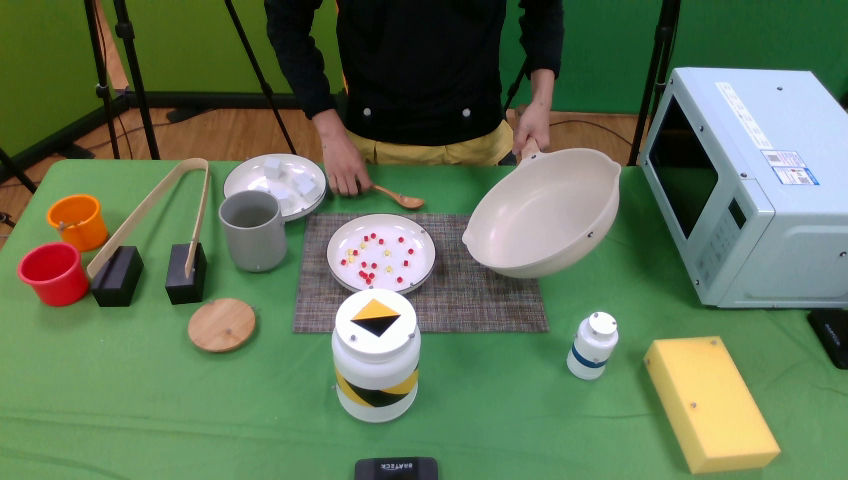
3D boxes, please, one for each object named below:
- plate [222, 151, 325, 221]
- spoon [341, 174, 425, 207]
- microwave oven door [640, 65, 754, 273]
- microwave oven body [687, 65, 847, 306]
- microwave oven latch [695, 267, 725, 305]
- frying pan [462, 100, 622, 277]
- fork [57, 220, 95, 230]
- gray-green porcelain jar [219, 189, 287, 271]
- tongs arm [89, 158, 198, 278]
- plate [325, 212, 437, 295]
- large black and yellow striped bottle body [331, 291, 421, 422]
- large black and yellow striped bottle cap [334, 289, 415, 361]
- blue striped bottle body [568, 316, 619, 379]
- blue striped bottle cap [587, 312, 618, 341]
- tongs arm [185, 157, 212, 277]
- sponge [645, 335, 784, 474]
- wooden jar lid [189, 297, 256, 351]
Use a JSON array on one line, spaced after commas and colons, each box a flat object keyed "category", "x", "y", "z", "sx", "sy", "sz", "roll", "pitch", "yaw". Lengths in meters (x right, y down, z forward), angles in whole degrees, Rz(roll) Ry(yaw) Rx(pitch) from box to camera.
[{"category": "plate", "x": -0.310, "y": -0.106, "z": 1.263, "sx": 0.208, "sy": 0.039, "sz": 0.206, "roll": 2, "pitch": 47, "yaw": -2}, {"category": "spoon", "x": -0.089, "y": -0.108, "z": 1.285, "sx": 0.193, "sy": 0.022, "sz": 0.041, "roll": 23, "pitch": 43, "yaw": 10}, {"category": "microwave oven door", "x": 0.523, "y": -0.147, "z": 1.193, "sx": 0.039, "sy": 0.245, "sz": 0.353, "roll": 0, "pitch": 47, "yaw": -3}, {"category": "microwave oven body", "x": 0.669, "y": -0.111, "z": 1.176, "sx": 0.326, "sy": 0.261, "sz": 0.439, "roll": 0, "pitch": 46, "yaw": -3}, {"category": "microwave oven latch", "x": 0.524, "y": 0.082, "z": 1.115, "sx": 0.030, "sy": 0.029, "sz": 0.078, "roll": 4, "pitch": 46, "yaw": 2}, {"category": "frying pan", "x": 0.216, "y": -0.122, "z": 1.144, "sx": 0.306, "sy": 0.103, "sz": 0.484, "roll": -23, "pitch": 42, "yaw": 24}, {"category": "fork", "x": -0.624, "y": -0.027, "z": 1.086, "sx": 0.028, "sy": 0.207, "sz": 0.018, "roll": -2, "pitch": 91, "yaw": -17}, {"category": "gray-green porcelain jar", "x": -0.310, "y": -0.014, "z": 1.113, "sx": 0.106, "sy": 0.127, "sz": 0.105, "roll": 2, "pitch": 46, "yaw": -2}, {"category": "tongs arm", "x": -0.529, "y": -0.057, "z": 1.164, "sx": 0.028, "sy": 0.028, "sz": 0.385, "roll": 1, "pitch": 36, "yaw": 8}, {"category": "plate", "x": -0.081, "y": 0.030, "z": 1.143, "sx": 0.209, "sy": 0.038, "sz": 0.208, "roll": 2, "pitch": 46, "yaw": -2}, {"category": "large black and yellow striped bottle body", "x": -0.071, "y": 0.175, "z": 0.911, "sx": 0.131, "sy": 0.185, "sz": 0.130, "roll": 2, "pitch": 47, "yaw": -2}, {"category": "large black and yellow striped bottle cap", "x": -0.069, "y": 0.117, "z": 0.850, "sx": 0.115, "sy": 0.019, "sz": 0.114, "roll": 2, "pitch": 45, "yaw": -2}, {"category": "blue striped bottle body", "x": 0.277, "y": 0.169, "z": 0.984, "sx": 0.063, "sy": 0.121, "sz": 0.062, "roll": 2, "pitch": 46, "yaw": -2}, {"category": "blue striped bottle cap", "x": 0.279, "y": 0.134, "z": 0.946, "sx": 0.044, "sy": 0.021, "sz": 0.044, "roll": 2, "pitch": 45, "yaw": -2}, {"category": "tongs arm", "x": -0.445, "y": -0.058, "z": 1.168, "sx": 0.051, "sy": 0.026, "sz": 0.382, "roll": -5, "pitch": 37, "yaw": -6}, {"category": "sponge", "x": 0.449, "y": 0.253, "z": 0.956, "sx": 0.118, "sy": 0.061, "sz": 0.205, "roll": -4, "pitch": 46, "yaw": -7}, {"category": "wooden jar lid", "x": -0.342, "y": 0.145, "z": 1.033, "sx": 0.108, "sy": 0.021, "sz": 0.107, "roll": 2, "pitch": 45, "yaw": -2}]
